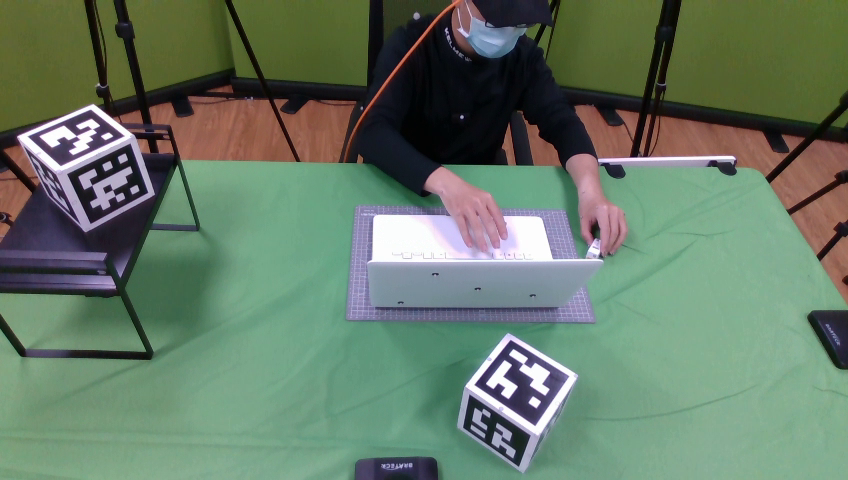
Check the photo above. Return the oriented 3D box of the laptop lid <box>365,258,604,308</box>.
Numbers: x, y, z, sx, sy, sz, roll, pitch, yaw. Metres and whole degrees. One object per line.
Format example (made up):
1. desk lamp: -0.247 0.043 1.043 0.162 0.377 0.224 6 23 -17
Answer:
1. laptop lid: 0.085 0.074 0.977 0.357 0.242 0.013 1 67 -5

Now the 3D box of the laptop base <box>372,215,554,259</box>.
1. laptop base: 0.075 0.037 1.167 0.355 0.023 0.234 0 43 -4

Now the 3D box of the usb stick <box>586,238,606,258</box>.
1. usb stick: 0.336 0.025 1.191 0.021 0.027 0.059 26 51 18
